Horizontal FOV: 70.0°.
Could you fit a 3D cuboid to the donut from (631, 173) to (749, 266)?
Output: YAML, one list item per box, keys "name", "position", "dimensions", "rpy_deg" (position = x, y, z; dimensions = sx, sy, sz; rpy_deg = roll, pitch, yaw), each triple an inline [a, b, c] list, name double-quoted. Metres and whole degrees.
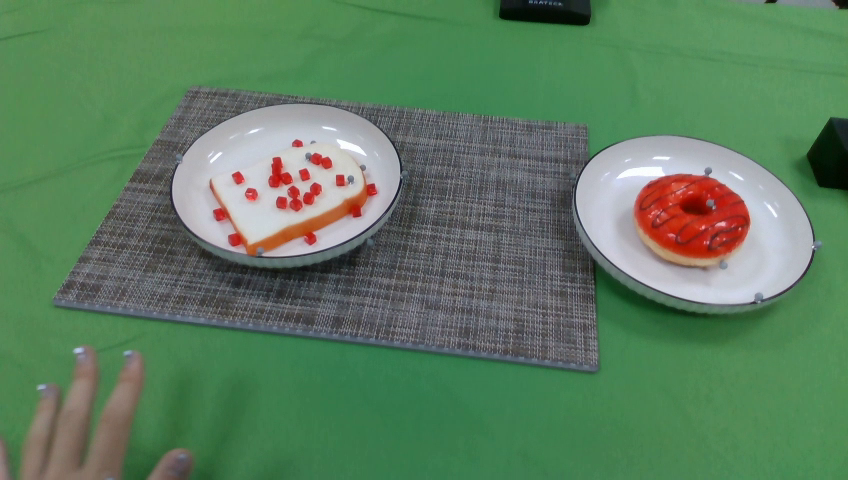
- name: "donut"
  position: [0.236, -0.020, 0.541]
  dimensions: [0.099, 0.049, 0.098]
  rpy_deg: [-1, 51, 1]

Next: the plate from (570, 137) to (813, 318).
- name: "plate"
  position: [0.235, -0.013, 0.551]
  dimensions: [0.208, 0.039, 0.205]
  rpy_deg: [1, 50, -1]

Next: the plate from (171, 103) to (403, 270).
- name: "plate"
  position: [-0.125, -0.051, 0.569]
  dimensions: [0.209, 0.038, 0.207]
  rpy_deg: [1, 50, 0]

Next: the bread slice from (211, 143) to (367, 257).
- name: "bread slice"
  position: [-0.123, -0.047, 0.568]
  dimensions: [0.131, 0.019, 0.104]
  rpy_deg: [-26, 56, -21]
